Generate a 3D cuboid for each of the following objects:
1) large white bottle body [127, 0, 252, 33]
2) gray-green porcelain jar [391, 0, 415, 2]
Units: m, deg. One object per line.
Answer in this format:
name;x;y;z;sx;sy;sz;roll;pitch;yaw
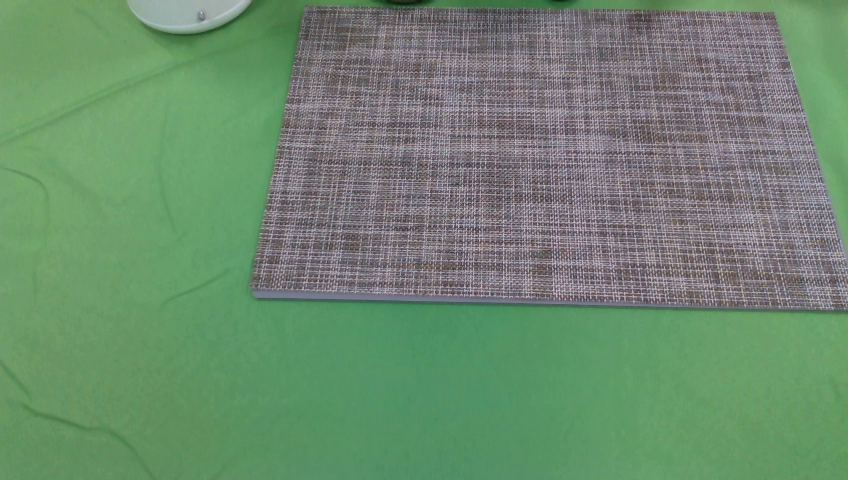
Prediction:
large white bottle body;-0.233;-0.294;0.531;0.130;0.186;0.129;-1;63;2
gray-green porcelain jar;-0.021;-0.298;0.559;0.106;0.127;0.105;-1;63;2
